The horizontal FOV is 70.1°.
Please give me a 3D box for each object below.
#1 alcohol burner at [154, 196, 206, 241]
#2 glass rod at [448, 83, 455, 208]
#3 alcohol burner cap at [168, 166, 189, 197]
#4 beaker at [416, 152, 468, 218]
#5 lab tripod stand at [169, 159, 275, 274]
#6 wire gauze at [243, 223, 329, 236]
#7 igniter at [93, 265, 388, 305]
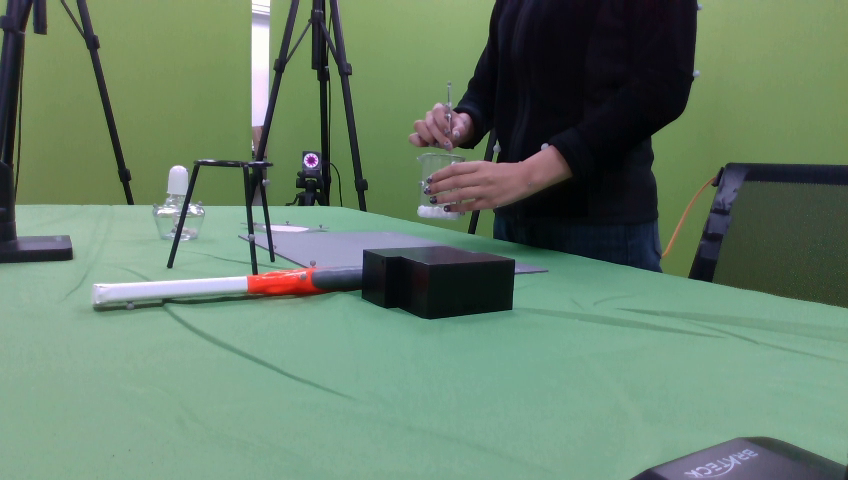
[{"bbox_3d":[-0.393,-0.059,0.974,0.078,0.119,0.078,1,8,0],"label":"alcohol burner"},{"bbox_3d":[0.043,-0.150,0.959,0.008,0.199,0.008,-2,-1,0],"label":"glass rod"},{"bbox_3d":[-0.392,-0.095,0.970,0.034,0.048,0.034,7,7,-1],"label":"alcohol burner cap"},{"bbox_3d":[0.025,-0.086,0.952,0.084,0.100,0.073,2,3,-22],"label":"beaker"},{"bbox_3d":[-0.230,-0.030,0.724,0.148,0.131,0.148,1,9,0],"label":"lab tripod stand"},{"bbox_3d":[-0.266,-0.024,1.156,0.124,0.011,0.122,12,12,40],"label":"wire gauze"},{"bbox_3d":[-0.164,0.042,0.589,0.278,0.025,0.057,-2,-7,-31],"label":"igniter"}]
